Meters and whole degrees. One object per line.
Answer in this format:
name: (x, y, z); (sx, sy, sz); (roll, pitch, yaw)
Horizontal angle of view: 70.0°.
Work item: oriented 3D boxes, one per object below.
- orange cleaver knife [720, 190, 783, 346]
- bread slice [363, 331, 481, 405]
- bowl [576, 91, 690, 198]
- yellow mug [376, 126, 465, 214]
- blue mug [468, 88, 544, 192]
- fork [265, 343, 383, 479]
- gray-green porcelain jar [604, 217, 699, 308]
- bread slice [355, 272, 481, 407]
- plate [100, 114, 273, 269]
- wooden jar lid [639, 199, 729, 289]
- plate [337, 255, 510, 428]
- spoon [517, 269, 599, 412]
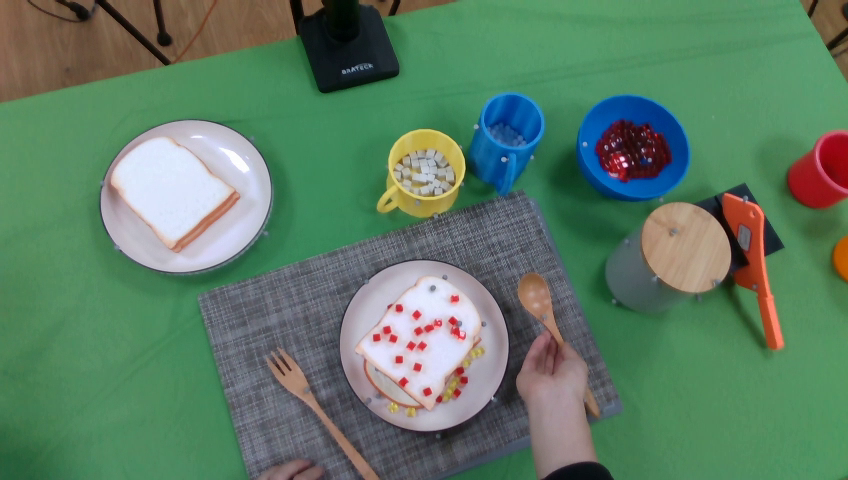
orange cleaver knife: (0.426, 0.036, 0.792); (0.012, 0.077, 0.212); (-19, 102, -11)
bread slice: (-0.006, 0.134, 0.739); (0.104, 0.019, 0.131); (37, 70, 8)
bowl: (0.272, -0.117, 0.827); (0.151, 0.077, 0.150); (2, 72, -5)
yellow mug: (-0.011, -0.082, 0.793); (0.131, 0.064, 0.099); (-39, 79, -14)
blue mug: (0.106, -0.121, 0.797); (0.082, 0.106, 0.116); (2, 72, -4)
fork: (-0.116, 0.205, 0.711); (0.028, 0.019, 0.206); (-38, 78, -22)
gray-green porcelain jar: (0.293, 0.026, 0.759); (0.106, 0.127, 0.105); (2, 72, -5)
bread slice: (0.000, 0.102, 0.685); (0.107, 0.018, 0.134); (36, 67, 1)
plate: (-0.297, -0.060, 0.771); (0.208, 0.039, 0.206); (2, 72, -5)
wooden jar lid: (0.297, 0.005, 0.699); (0.108, 0.021, 0.108); (3, 74, -8)
plate: (-0.001, 0.121, 0.740); (0.209, 0.038, 0.208); (2, 72, -5)
spoon: (0.167, 0.124, 0.744); (0.041, 0.021, 0.193); (-25, 84, -15)
